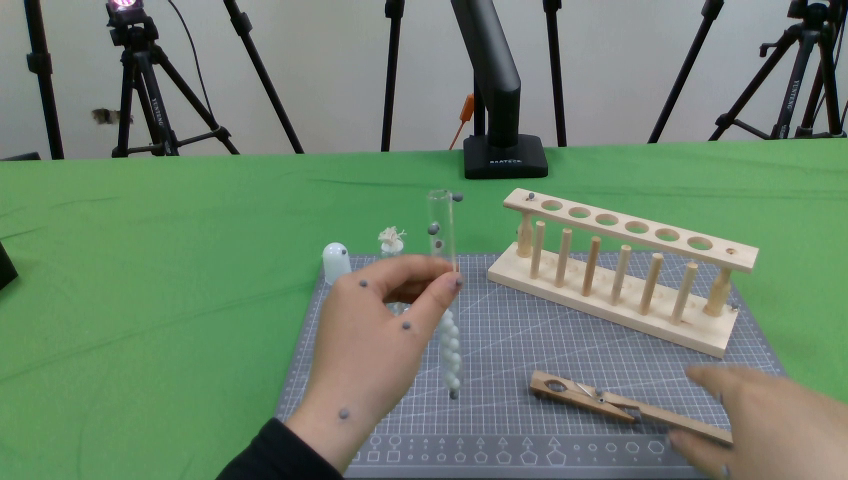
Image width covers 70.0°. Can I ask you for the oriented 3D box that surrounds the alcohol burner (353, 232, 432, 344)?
[{"bbox_3d":[-0.031,0.041,0.577,0.078,0.120,0.077,-1,36,1],"label":"alcohol burner"}]

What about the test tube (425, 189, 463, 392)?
[{"bbox_3d":[0.014,0.039,0.402,0.017,0.151,0.017,-4,25,2],"label":"test tube"}]

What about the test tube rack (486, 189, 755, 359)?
[{"bbox_3d":[0.185,0.026,0.608,0.240,0.086,0.066,18,40,28],"label":"test tube rack"}]

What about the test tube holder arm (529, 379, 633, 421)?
[{"bbox_3d":[0.132,0.135,0.513,0.087,0.015,0.010,12,71,20],"label":"test tube holder arm"}]

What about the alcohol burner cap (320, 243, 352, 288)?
[{"bbox_3d":[-0.099,0.025,0.670,0.034,0.048,0.033,-1,35,1],"label":"alcohol burner cap"}]

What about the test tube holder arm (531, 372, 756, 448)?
[{"bbox_3d":[0.176,0.139,0.500,0.177,0.015,0.013,11,71,19],"label":"test tube holder arm"}]
